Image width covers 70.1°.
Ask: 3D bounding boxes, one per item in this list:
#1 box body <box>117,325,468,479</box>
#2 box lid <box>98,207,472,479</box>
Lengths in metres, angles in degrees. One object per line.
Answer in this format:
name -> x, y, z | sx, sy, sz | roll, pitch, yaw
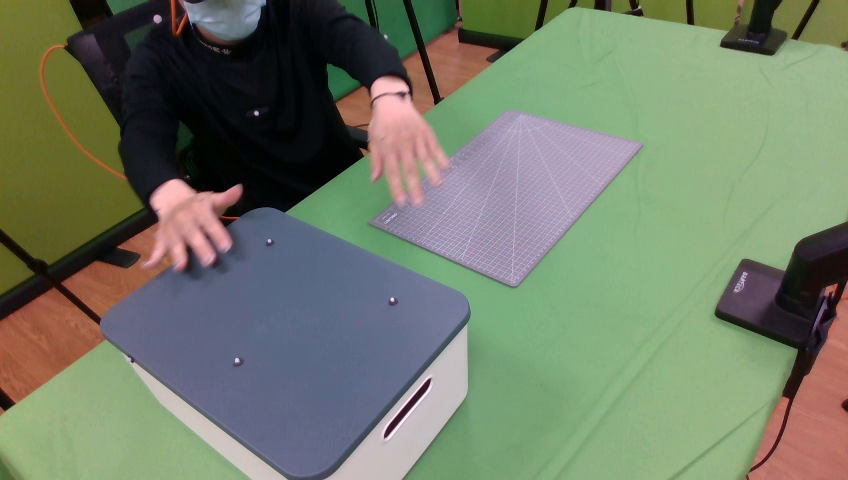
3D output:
box body -> -0.151, 0.140, 0.721 | 0.361, 0.161, 0.255 | 23, 49, 30
box lid -> -0.161, 0.083, 0.675 | 0.368, 0.015, 0.264 | 22, 48, 30
